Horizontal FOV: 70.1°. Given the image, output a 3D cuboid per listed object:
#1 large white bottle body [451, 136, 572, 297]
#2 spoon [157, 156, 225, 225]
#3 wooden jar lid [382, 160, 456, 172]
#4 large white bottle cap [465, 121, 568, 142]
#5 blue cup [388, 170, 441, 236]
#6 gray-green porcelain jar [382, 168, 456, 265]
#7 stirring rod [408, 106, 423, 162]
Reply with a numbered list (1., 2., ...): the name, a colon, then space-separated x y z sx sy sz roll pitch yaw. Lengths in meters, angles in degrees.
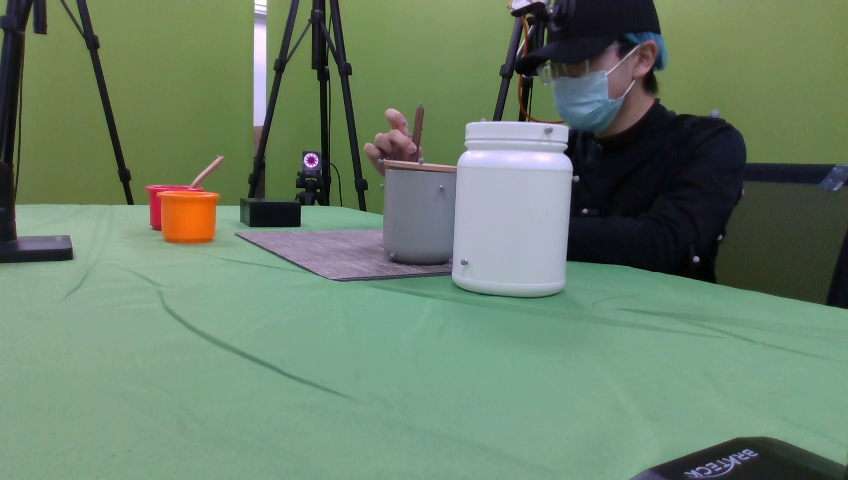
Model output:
1. large white bottle body: 0.099 -0.037 0.688 0.131 0.184 0.130 2 7 0
2. spoon: -0.425 -0.094 1.117 0.041 0.022 0.194 3 50 30
3. wooden jar lid: -0.003 -0.096 0.826 0.108 0.020 0.108 4 10 0
4. large white bottle cap: 0.103 -0.120 0.677 0.115 0.018 0.115 2 7 0
5. blue cup: -0.018 -0.058 0.980 0.093 0.100 0.092 4 4 0
6. gray-green porcelain jar: -0.005 -0.034 0.834 0.106 0.126 0.106 3 7 0
7. stirring rod: -0.019 -0.126 0.963 0.014 0.176 0.006 8 1 27
